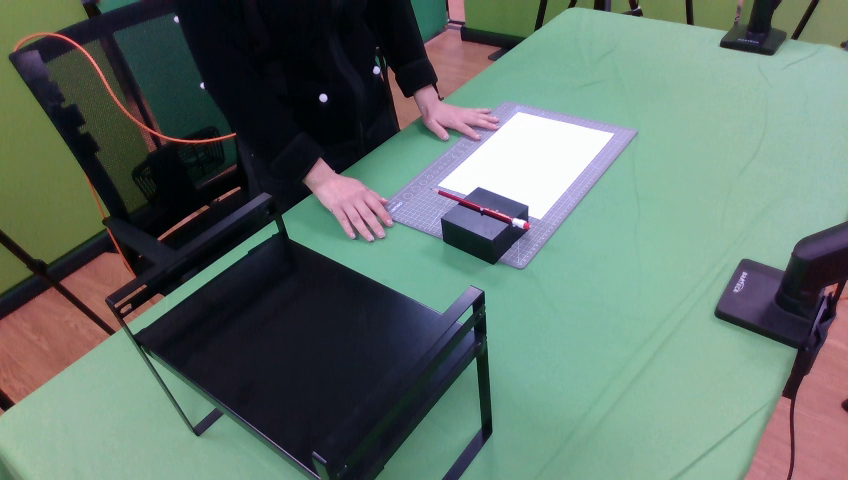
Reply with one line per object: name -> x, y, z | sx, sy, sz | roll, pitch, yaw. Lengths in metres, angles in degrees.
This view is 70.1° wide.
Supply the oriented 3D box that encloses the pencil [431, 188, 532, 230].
pencil -> 0.086, -0.052, 0.952 | 0.192, 0.012, 0.012 | 24, 50, 32
